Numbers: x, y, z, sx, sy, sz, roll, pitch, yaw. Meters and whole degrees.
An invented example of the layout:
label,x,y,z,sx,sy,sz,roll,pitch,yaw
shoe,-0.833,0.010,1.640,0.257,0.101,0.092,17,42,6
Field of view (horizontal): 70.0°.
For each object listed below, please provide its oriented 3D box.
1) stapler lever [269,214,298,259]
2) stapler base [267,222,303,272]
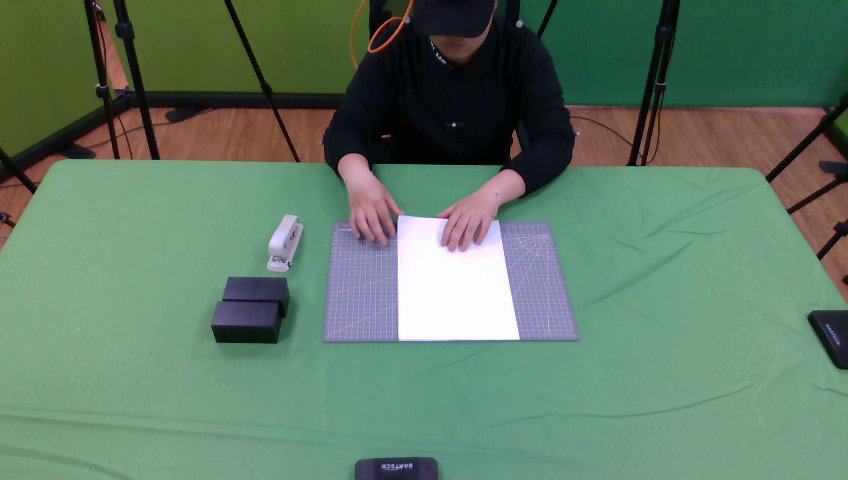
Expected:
label,x,y,z,sx,sy,sz,roll,pitch,yaw
stapler lever,-0.268,-0.014,1.154,0.027,0.040,0.117,8,44,0
stapler base,-0.269,0.006,1.170,0.041,0.024,0.130,8,44,0
